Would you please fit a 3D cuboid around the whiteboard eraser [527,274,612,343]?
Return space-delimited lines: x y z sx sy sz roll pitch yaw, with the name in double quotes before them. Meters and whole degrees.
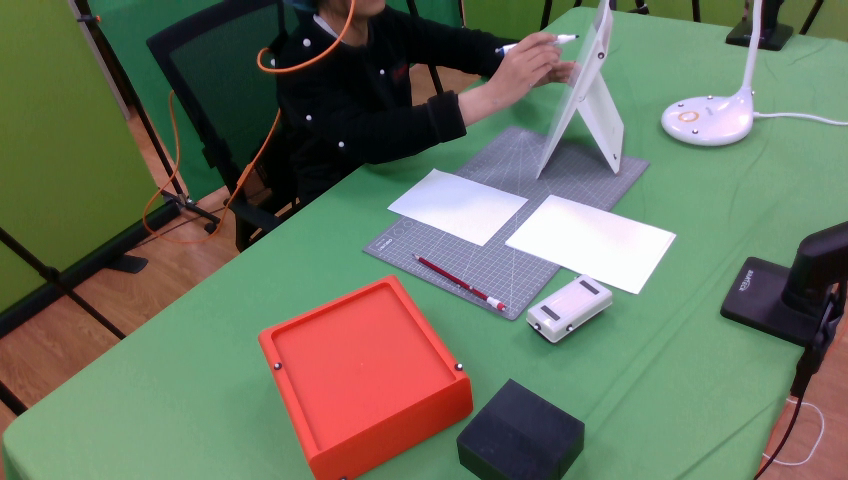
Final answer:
"whiteboard eraser" 0.198 0.094 0.820 0.113 0.042 0.055 -29 43 -22

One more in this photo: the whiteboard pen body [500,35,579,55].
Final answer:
"whiteboard pen body" 0.201 -0.342 1.054 0.141 0.017 0.017 -11 40 -1

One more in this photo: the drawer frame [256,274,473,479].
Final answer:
"drawer frame" -0.078 0.163 0.756 0.202 0.083 0.211 -23 43 -17

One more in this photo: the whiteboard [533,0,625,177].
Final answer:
"whiteboard" 0.321 -0.258 1.049 0.144 0.306 0.217 21 45 4

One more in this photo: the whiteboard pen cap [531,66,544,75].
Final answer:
"whiteboard pen cap" 0.221 -0.330 1.179 0.018 0.018 0.033 17 18 27

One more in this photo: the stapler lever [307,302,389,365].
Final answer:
"stapler lever" -0.101 0.121 0.799 0.118 0.040 0.026 -25 29 -17

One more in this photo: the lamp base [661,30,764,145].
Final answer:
"lamp base" 0.535 -0.287 1.096 0.179 0.181 0.159 -10 40 -4

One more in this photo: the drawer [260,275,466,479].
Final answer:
"drawer" -0.080 0.162 0.760 0.195 0.073 0.210 -22 42 -16

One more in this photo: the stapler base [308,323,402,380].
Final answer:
"stapler base" -0.094 0.142 0.812 0.131 0.024 0.041 -25 29 -17

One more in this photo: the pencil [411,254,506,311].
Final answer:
"pencil" 0.047 0.060 0.906 0.012 0.012 0.192 -37 46 -29
